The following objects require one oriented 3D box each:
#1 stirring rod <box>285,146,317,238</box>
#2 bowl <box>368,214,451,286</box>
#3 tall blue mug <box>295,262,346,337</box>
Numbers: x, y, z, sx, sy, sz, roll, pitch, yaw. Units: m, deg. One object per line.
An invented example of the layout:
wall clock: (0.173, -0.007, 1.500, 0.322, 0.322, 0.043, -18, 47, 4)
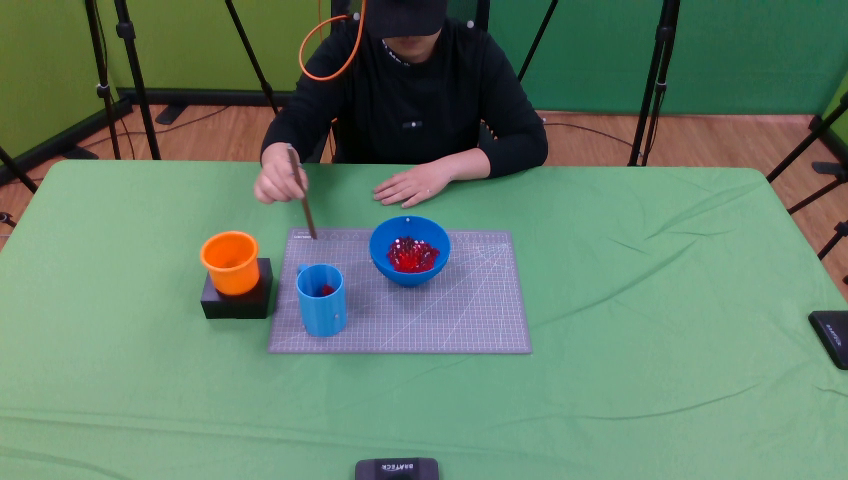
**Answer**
stirring rod: (-0.194, -0.072, 0.963, 0.014, 0.177, 0.006, 25, 49, 33)
bowl: (-0.028, 0.031, 1.122, 0.151, 0.077, 0.150, 2, 46, -2)
tall blue mug: (-0.187, 0.096, 1.027, 0.107, 0.108, 0.077, 21, 49, 16)
